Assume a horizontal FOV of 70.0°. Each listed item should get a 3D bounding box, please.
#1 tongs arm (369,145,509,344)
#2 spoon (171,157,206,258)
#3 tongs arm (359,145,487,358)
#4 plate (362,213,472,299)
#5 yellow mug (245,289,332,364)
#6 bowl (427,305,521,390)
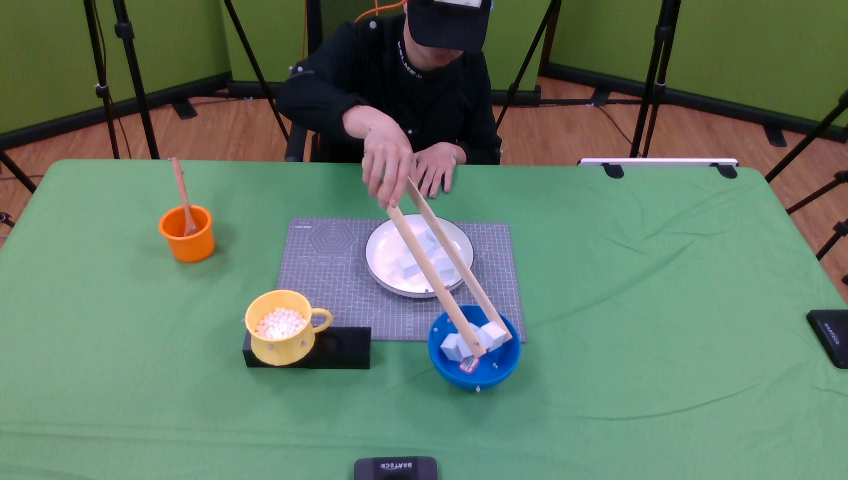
[{"bbox_3d":[0.024,0.003,0.995,0.028,0.028,0.386,-24,77,-41],"label":"tongs arm"},{"bbox_3d":[-0.444,-0.061,1.133,0.042,0.193,0.021,-12,4,-20],"label":"spoon"},{"bbox_3d":[-0.002,0.012,0.968,0.051,0.026,0.383,-23,76,-44],"label":"tongs arm"},{"bbox_3d":[-0.013,0.034,1.150,0.208,0.039,0.206,2,46,-2],"label":"plate"},{"bbox_3d":[-0.210,0.132,0.954,0.131,0.064,0.099,-9,48,-14],"label":"yellow mug"},{"bbox_3d":[0.076,0.188,0.985,0.151,0.077,0.150,3,46,-3],"label":"bowl"}]
